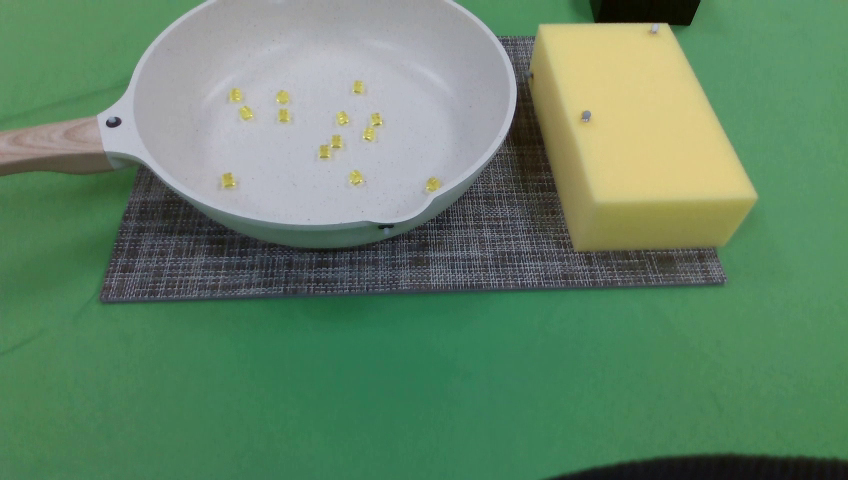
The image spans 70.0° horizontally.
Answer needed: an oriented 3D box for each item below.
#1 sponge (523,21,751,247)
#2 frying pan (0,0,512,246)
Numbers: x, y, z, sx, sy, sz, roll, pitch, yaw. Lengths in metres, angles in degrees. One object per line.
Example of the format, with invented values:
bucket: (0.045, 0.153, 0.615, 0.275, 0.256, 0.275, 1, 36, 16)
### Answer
sponge: (0.161, -0.095, 0.498, 0.118, 0.061, 0.204, -3, 54, -5)
frying pan: (-0.172, -0.087, 0.448, 0.489, 0.103, 0.303, -14, 54, -22)
